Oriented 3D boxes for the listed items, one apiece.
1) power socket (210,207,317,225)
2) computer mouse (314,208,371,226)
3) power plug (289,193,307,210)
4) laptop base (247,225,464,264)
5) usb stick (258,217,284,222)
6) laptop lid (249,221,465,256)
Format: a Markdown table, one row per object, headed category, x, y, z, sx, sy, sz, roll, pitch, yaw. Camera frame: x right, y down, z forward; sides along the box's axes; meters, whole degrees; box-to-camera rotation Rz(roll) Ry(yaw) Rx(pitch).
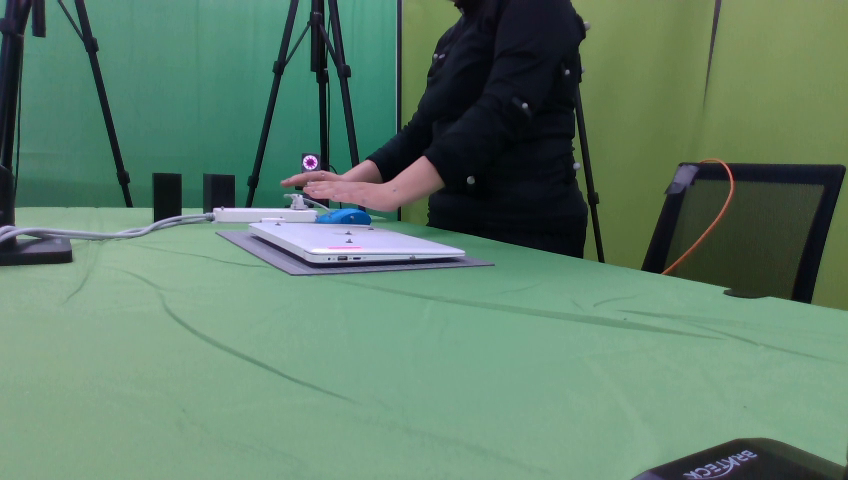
| category | x | y | z | sx | sy | sz | roll | pitch | yaw |
| --- | --- | --- | --- | --- | --- | --- | --- | --- | --- |
| power socket | -0.335 | -0.051 | 1.281 | 0.228 | 0.032 | 0.072 | -1 | 8 | -28 |
| computer mouse | -0.175 | -0.047 | 1.292 | 0.118 | 0.041 | 0.062 | -7 | 14 | -34 |
| power plug | -0.281 | -0.076 | 1.341 | 0.035 | 0.052 | 0.072 | 3 | 6 | -17 |
| laptop base | -0.124 | 0.006 | 0.955 | 0.237 | 0.023 | 0.352 | 2 | 6 | -30 |
| usb stick | -0.291 | -0.028 | 1.119 | 0.059 | 0.027 | 0.021 | -4 | 13 | -29 |
| laptop lid | -0.122 | -0.005 | 0.955 | 0.243 | 0.013 | 0.355 | 2 | 7 | -28 |
